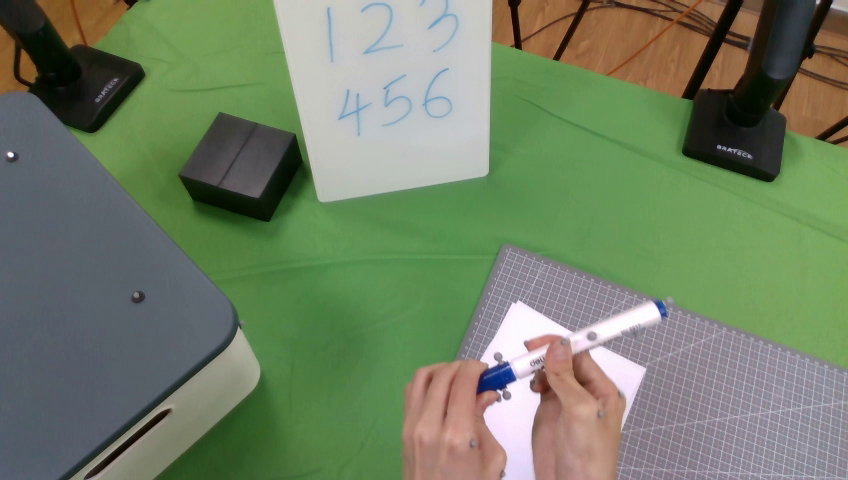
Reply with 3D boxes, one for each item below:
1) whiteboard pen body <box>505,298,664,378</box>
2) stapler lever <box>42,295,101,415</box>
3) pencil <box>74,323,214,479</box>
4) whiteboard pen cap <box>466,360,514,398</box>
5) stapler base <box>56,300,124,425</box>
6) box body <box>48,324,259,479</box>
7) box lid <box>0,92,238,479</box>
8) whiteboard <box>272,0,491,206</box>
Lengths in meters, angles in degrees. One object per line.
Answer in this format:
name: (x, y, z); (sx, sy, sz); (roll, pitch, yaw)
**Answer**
whiteboard pen body: (0.103, 0.074, 0.430); (0.141, 0.017, 0.017); (-23, 62, 1)
stapler lever: (-0.350, 0.110, 0.596); (0.027, 0.040, 0.117); (-5, 62, 15)
pencil: (-0.276, 0.157, 0.607); (0.012, 0.012, 0.193); (24, 51, 12)
whiteboard pen cap: (0.047, 0.097, 0.428); (0.033, 0.018, 0.018); (-21, 63, -11)
stapler base: (-0.344, 0.120, 0.617); (0.041, 0.025, 0.129); (-5, 64, 15)
box body: (-0.364, 0.072, 0.574); (0.361, 0.161, 0.254); (40, 67, 19)
box lid: (-0.364, 0.035, 0.510); (0.369, 0.015, 0.263); (41, 67, 18)
whiteboard: (-0.046, -0.219, 0.700); (0.217, 0.308, 0.142); (-9, 42, -6)
